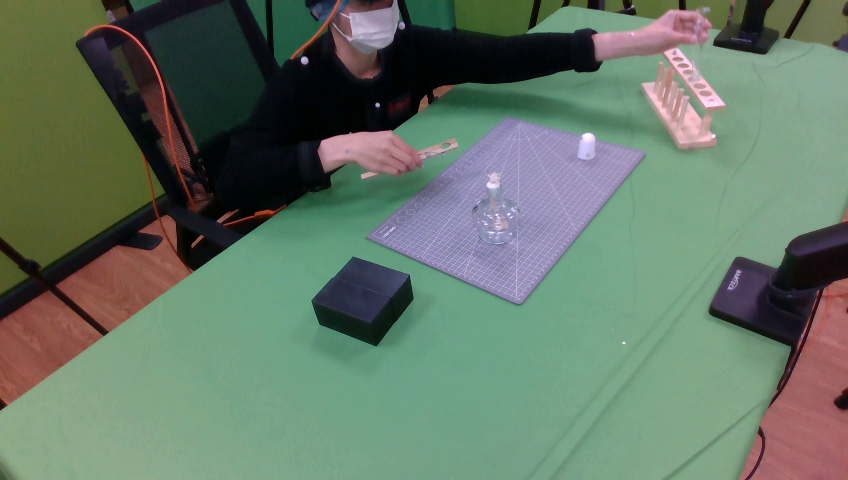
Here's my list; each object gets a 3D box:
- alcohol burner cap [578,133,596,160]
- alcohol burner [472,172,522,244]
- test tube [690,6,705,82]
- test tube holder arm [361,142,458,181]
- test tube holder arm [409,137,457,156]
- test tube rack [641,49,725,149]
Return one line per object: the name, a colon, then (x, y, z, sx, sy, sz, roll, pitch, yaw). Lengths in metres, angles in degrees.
alcohol burner cap: (0.301, -0.174, 1.111, 0.034, 0.048, 0.033, -5, 41, 4)
alcohol burner: (0.112, -0.053, 0.942, 0.078, 0.119, 0.077, -6, 40, 5)
test tube: (0.495, -0.348, 1.095, 0.017, 0.151, 0.017, -9, 39, 8)
test tube holder arm: (-0.025, -0.137, 1.051, 0.179, 0.013, 0.015, -22, -2, -7)
test tube holder arm: (0.015, -0.159, 1.056, 0.088, 0.010, 0.015, -22, -3, -7)
test tube rack: (0.495, -0.279, 1.175, 0.067, 0.085, 0.241, -5, 41, 2)
